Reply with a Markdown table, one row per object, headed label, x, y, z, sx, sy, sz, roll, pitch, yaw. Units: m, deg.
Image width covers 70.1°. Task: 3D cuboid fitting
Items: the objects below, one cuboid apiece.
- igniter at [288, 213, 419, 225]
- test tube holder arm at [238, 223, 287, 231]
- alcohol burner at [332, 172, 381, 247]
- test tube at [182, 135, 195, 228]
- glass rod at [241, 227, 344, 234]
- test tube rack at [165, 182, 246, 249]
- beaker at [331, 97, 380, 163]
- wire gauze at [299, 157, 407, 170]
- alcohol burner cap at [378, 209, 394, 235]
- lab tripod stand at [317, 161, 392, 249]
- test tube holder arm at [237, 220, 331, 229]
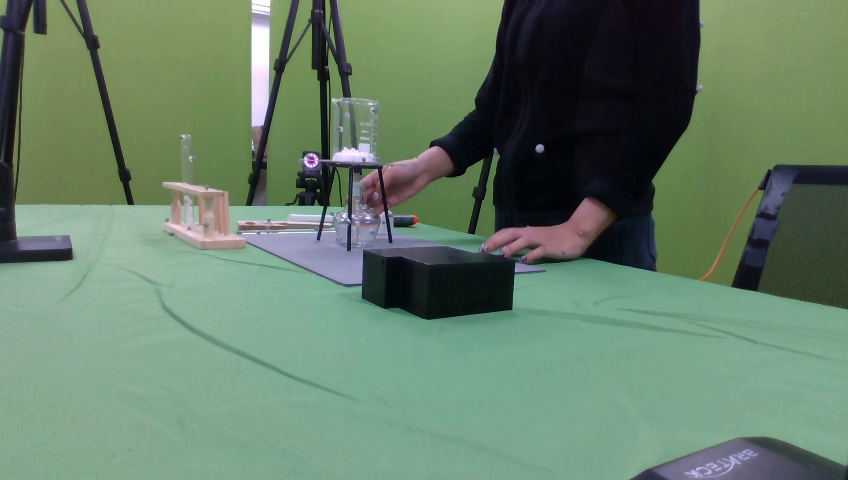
| label | x | y | z | sx | sy | sz | roll | pitch | yaw |
| --- | --- | --- | --- | --- | --- | --- | --- | --- | --- |
| igniter | -0.145 | -0.044 | 1.278 | 0.278 | 0.025 | 0.057 | -1 | -2 | -21 |
| test tube holder arm | -0.296 | -0.024 | 1.112 | 0.088 | 0.015 | 0.010 | -1 | 41 | -32 |
| alcohol burner | -0.107 | -0.048 | 0.961 | 0.078 | 0.119 | 0.078 | 1 | 9 | 0 |
| test tube | -0.382 | -0.095 | 0.983 | 0.017 | 0.150 | 0.017 | -1 | 2 | 0 |
| glass rod | -0.239 | -0.019 | 1.119 | 0.201 | 0.008 | 0.008 | -3 | 9 | -34 |
| test tube rack | -0.360 | -0.045 | 0.982 | 0.067 | 0.085 | 0.241 | -3 | 9 | -34 |
| beaker | -0.111 | -0.171 | 0.950 | 0.073 | 0.100 | 0.084 | 12 | 12 | 42 |
| wire gauze | -0.112 | -0.124 | 0.959 | 0.121 | 0.011 | 0.126 | 13 | 11 | 40 |
| alcohol burner cap | -0.072 | -0.035 | 1.145 | 0.034 | 0.048 | 0.034 | 2 | 7 | 0 |
| lab tripod stand | -0.111 | -0.059 | 0.963 | 0.148 | 0.131 | 0.148 | 4 | 8 | 0 |
| test tube holder arm | -0.260 | -0.028 | 1.140 | 0.179 | 0.015 | 0.013 | -1 | 41 | -32 |
